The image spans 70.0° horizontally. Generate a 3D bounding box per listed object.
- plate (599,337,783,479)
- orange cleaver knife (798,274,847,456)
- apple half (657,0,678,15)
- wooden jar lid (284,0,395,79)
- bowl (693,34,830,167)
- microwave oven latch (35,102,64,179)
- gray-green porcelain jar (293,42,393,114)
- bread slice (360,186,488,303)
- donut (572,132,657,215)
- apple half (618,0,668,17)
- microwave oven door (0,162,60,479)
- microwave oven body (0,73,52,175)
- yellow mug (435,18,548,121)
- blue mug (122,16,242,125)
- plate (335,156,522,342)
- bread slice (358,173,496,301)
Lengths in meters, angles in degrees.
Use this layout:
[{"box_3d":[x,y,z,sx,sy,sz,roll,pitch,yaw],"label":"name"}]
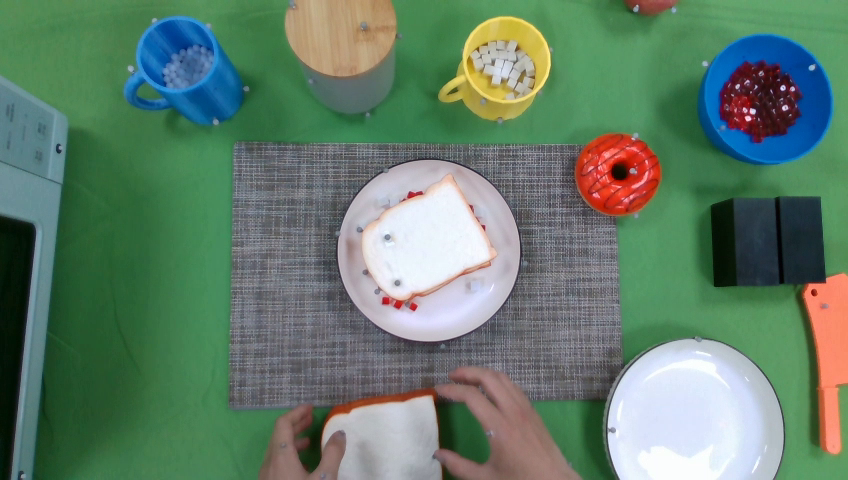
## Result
[{"box_3d":[0.298,0.214,0.690,0.209,0.038,0.208,0,84,-3],"label":"plate"},{"box_3d":[0.485,0.145,0.718,0.077,0.012,0.210,1,83,-10],"label":"orange cleaver knife"},{"box_3d":[0.281,-0.315,0.723,0.053,0.075,0.080,-33,83,-11],"label":"apple half"},{"box_3d":[-0.083,-0.209,0.600,0.108,0.021,0.108,0,82,-3],"label":"wooden jar lid"},{"box_3d":[0.378,-0.153,0.711,0.151,0.077,0.151,0,85,-3],"label":"bowl"},{"box_3d":[-0.413,-0.108,0.658,0.030,0.029,0.079,6,85,-3],"label":"microwave oven latch"},{"box_3d":[-0.086,-0.202,0.662,0.106,0.126,0.105,0,84,-3],"label":"gray-green porcelain jar"},{"box_3d":[-0.004,0.012,0.690,0.131,0.019,0.105,-28,88,-7],"label":"bread slice"},{"box_3d":[0.221,-0.077,0.707,0.099,0.048,0.099,0,85,-4],"label":"donut"},{"box_3d":[0.249,-0.293,0.717,0.033,0.081,0.081,-34,87,-11],"label":"apple half"},{"box_3d":[-0.419,0.099,0.535,0.039,0.244,0.355,3,84,-3],"label":"microwave oven door"},{"box_3d":[-0.564,0.049,0.536,0.326,0.260,0.440,3,85,-4],"label":"microwave oven body"},{"box_3d":[0.073,-0.189,0.702,0.131,0.064,0.100,-24,86,-5],"label":"yellow mug"},{"box_3d":[-0.266,-0.173,0.658,0.116,0.106,0.082,-26,86,-5],"label":"blue mug"},{"box_3d":[0.005,0.010,0.688,0.208,0.039,0.207,0,85,-3],"label":"plate"},{"box_3d":[-0.002,0.005,0.662,0.134,0.018,0.106,-31,84,-7],"label":"bread slice"}]
